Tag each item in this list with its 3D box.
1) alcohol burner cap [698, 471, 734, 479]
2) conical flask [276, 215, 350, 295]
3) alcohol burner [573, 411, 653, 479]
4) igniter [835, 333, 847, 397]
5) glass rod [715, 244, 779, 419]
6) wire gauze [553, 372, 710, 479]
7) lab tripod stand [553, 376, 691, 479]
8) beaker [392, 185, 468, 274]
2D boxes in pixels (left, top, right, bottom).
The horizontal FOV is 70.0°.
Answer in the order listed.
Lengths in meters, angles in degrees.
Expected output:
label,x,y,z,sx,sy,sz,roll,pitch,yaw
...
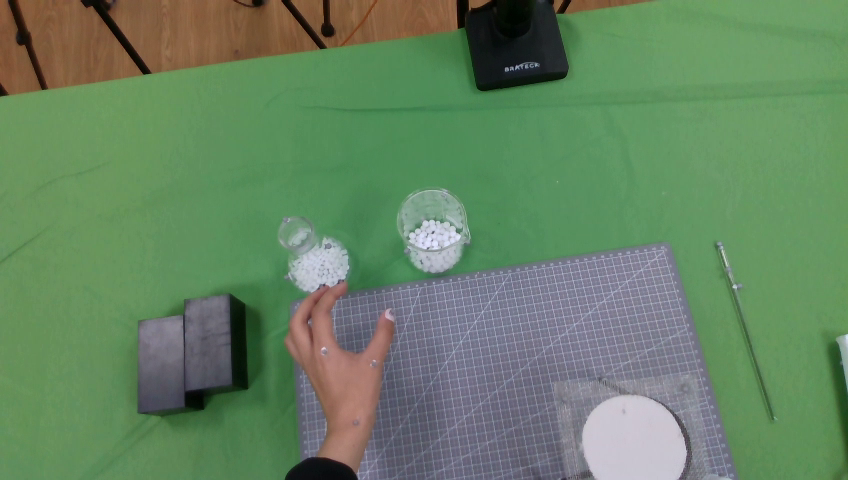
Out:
label,x,y,z,sx,sy,sz,roll,pitch,yaw
alcohol burner cap,0.297,0.249,0.605,0.034,0.048,0.033,-1,71,3
conical flask,-0.127,0.011,0.666,0.075,0.122,0.075,-1,71,3
alcohol burner,0.186,0.204,0.588,0.078,0.120,0.077,-1,71,5
igniter,0.458,0.232,0.615,0.057,0.025,0.275,5,71,-7
glass rod,0.358,0.097,0.673,0.008,0.008,0.198,-9,71,-1
wire gauze,0.179,0.177,0.516,0.125,0.011,0.120,-4,73,3
lab tripod stand,0.184,0.200,0.579,0.148,0.132,0.147,-1,73,3
beaker,0.011,-0.006,0.678,0.083,0.101,0.074,26,75,10
